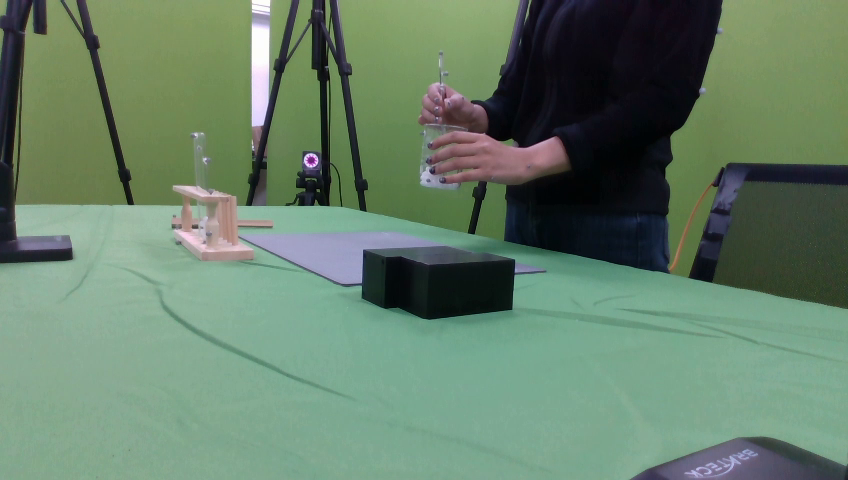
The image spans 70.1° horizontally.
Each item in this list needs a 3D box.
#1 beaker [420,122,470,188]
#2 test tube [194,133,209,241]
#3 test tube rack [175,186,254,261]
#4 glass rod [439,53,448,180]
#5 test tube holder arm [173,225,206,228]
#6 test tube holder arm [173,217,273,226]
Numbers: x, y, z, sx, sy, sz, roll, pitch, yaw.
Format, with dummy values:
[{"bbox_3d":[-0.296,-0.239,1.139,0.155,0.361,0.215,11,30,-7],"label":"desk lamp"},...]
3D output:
[{"bbox_3d":[0.031,-0.137,0.981,0.074,0.100,0.084,5,6,-9],"label":"beaker"},{"bbox_3d":[-0.307,-0.074,0.842,0.017,0.150,0.017,-3,2,0],"label":"test tube"},{"bbox_3d":[-0.314,-0.031,0.889,0.067,0.085,0.241,-2,8,-30],"label":"test tube rack"},{"bbox_3d":[0.031,-0.194,0.953,0.008,0.199,0.008,-3,2,0],"label":"glass rod"},{"bbox_3d":[-0.415,-0.030,1.113,0.088,0.015,0.010,-1,-22,-25],"label":"test tube holder arm"},{"bbox_3d":[-0.371,-0.033,1.128,0.179,0.015,0.013,-1,-22,-26],"label":"test tube holder arm"}]
